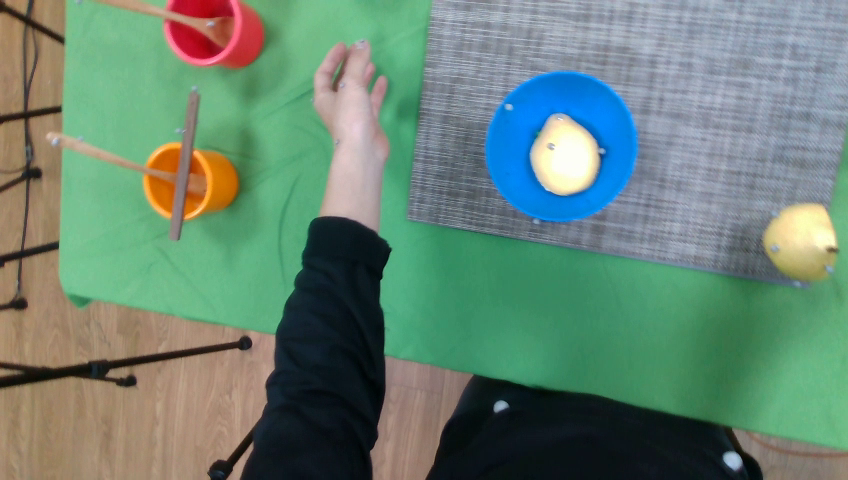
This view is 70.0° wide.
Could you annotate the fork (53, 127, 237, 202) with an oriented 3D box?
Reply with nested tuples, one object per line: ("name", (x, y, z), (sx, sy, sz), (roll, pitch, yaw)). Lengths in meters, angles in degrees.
("fork", (-0.323, -0.088, 0.716), (0.209, 0.018, 0.028), (20, 114, -35))

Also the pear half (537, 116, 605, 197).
("pear half", (0.155, -0.090, 0.639), (0.070, 0.031, 0.088), (-10, 90, 8))

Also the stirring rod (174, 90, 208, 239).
("stirring rod", (-0.271, -0.087, 0.704), (0.014, 0.006, 0.176), (15, 100, 7))

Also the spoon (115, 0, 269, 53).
("spoon", (-0.274, -0.257, 0.689), (0.195, 0.021, 0.042), (9, 103, -33))

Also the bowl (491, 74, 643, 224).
("bowl", (0.151, -0.094, 0.646), (0.151, 0.077, 0.151), (1, 97, 13))

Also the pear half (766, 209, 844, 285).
("pear half", (0.373, 0.009, 0.594), (0.056, 0.110, 0.076), (-8, 90, 13))
